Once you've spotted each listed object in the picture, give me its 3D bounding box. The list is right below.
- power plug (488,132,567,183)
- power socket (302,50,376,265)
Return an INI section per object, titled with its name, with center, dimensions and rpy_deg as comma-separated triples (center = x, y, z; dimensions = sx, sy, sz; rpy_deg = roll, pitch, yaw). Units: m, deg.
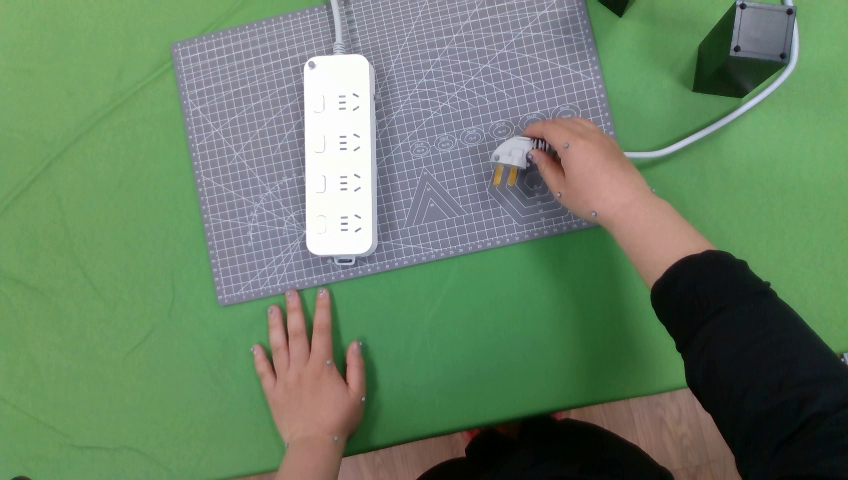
[power plug]
center = 0.099, -0.078, 0.592
dimensions = 0.072, 0.035, 0.052
rpy_deg = 10, 93, 15
[power socket]
center = -0.089, -0.088, 0.636
dimensions = 0.072, 0.032, 0.226
rpy_deg = -2, 87, 5
